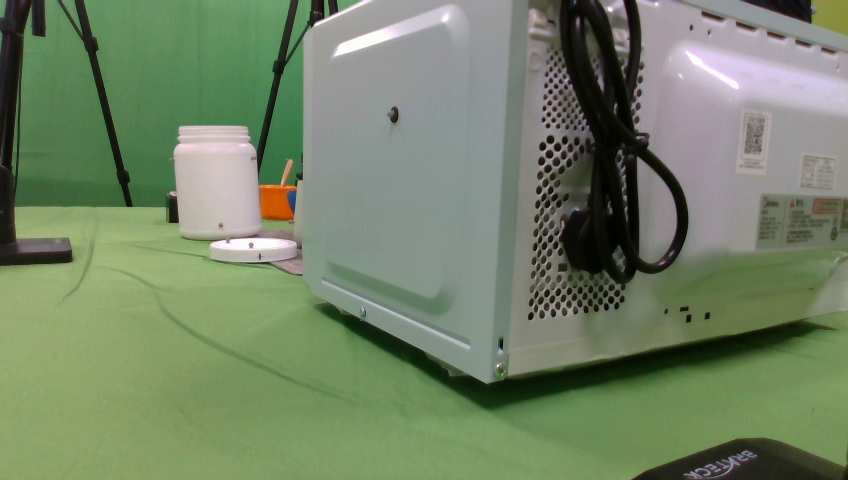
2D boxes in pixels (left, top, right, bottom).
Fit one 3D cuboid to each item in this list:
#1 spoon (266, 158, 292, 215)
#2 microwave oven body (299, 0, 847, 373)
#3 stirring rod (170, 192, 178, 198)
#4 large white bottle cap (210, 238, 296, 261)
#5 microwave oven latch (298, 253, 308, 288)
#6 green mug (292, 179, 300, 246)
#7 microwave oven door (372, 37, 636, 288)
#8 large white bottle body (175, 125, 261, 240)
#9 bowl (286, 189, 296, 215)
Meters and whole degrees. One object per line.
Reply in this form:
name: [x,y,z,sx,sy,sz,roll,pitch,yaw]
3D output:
spoon: [-0.333,-0.127,1.423,0.041,0.193,0.021,1,-37,6]
microwave oven body: [0.152,-0.055,0.542,0.444,0.260,0.324,-2,7,-33]
stirring rod: [-0.465,-0.098,1.282,0.014,0.006,0.177,42,21,17]
large white bottle cap: [-0.236,0.013,0.839,0.115,0.018,0.115,2,7,0]
microwave oven latch: [-0.081,0.028,0.579,0.079,0.029,0.030,-1,7,-27]
green mug: [-0.142,-0.040,0.942,0.126,0.105,0.092,-2,8,-32]
microwave oven door: [0.110,-0.080,0.687,0.358,0.243,0.039,-2,9,-33]
large white bottle body: [-0.349,-0.100,1.025,0.131,0.184,0.130,-1,9,1]
bowl: [-0.179,-0.051,1.115,0.151,0.077,0.151,3,8,0]
